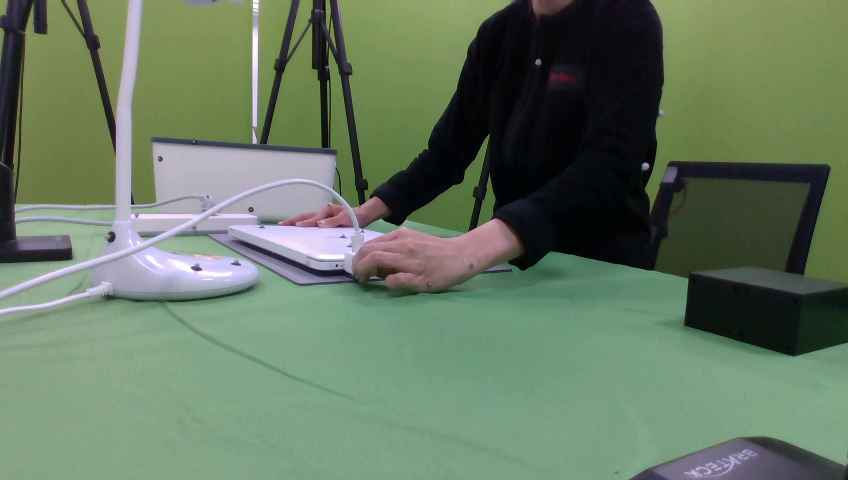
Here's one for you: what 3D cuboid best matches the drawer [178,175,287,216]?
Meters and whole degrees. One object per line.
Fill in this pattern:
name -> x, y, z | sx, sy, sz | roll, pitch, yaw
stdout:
drawer -> -0.414, -0.104, 1.342 | 0.212, 0.073, 0.194 | 5, 6, -11

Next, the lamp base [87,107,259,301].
lamp base -> -0.254, -0.039, 0.603 | 0.160, 0.180, 0.179 | 4, 10, 18

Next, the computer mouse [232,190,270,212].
computer mouse -> -0.382, -0.086, 1.343 | 0.063, 0.041, 0.117 | 10, 10, -4

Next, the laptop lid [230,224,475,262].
laptop lid -> -0.119, 0.001, 0.888 | 0.243, 0.013, 0.355 | 1, 7, -33

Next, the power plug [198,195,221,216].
power plug -> -0.385, -0.055, 1.088 | 0.035, 0.052, 0.072 | -2, 7, -24

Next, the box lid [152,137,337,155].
box lid -> -0.379, -0.203, 1.334 | 0.372, 0.015, 0.262 | 2, 7, -9

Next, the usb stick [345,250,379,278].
usb stick -> -0.074, 0.026, 0.686 | 0.021, 0.027, 0.059 | -10, 8, -32

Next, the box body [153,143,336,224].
box body -> -0.380, -0.130, 1.343 | 0.365, 0.160, 0.253 | 1, 7, -9

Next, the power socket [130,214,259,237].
power socket -> -0.397, -0.027, 1.048 | 0.228, 0.032, 0.072 | -3, 8, -35

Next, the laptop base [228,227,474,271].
laptop base -> -0.122, 0.011, 0.889 | 0.237, 0.023, 0.352 | 2, 6, -35

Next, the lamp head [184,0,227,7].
lamp head -> -0.229, -0.320, 0.627 | 0.112, 0.112, 0.123 | 6, -36, 26
